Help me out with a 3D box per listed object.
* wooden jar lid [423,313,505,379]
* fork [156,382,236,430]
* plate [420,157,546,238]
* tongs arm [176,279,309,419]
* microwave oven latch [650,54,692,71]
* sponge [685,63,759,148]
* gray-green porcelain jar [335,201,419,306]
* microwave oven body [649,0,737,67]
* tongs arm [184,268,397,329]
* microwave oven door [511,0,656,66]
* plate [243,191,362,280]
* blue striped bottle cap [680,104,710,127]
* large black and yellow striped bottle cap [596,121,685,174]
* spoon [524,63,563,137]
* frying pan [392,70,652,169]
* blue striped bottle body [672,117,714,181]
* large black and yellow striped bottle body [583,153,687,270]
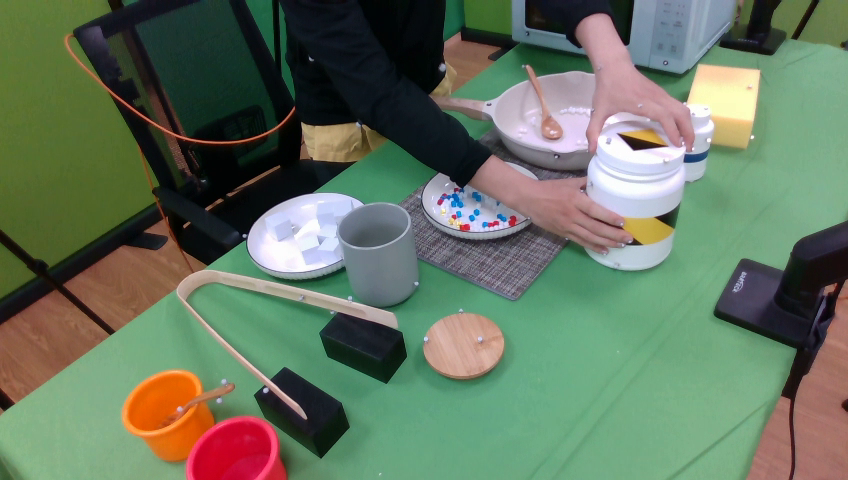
[{"bbox_3d":[0.053,0.142,0.800,0.108,0.021,0.108,-5,39,4],"label":"wooden jar lid"},{"bbox_3d":[-0.262,0.189,0.690,0.018,0.206,0.028,49,43,-7],"label":"fork"},{"bbox_3d":[0.100,-0.068,1.017,0.209,0.038,0.208,-4,40,4],"label":"plate"},{"bbox_3d":[-0.254,0.133,0.801,0.028,0.028,0.384,-41,40,-23],"label":"tongs arm"},{"bbox_3d":[0.530,-0.386,1.301,0.078,0.029,0.030,23,50,32],"label":"microwave oven latch"},{"bbox_3d":[0.569,-0.263,1.164,0.117,0.061,0.207,13,45,22],"label":"sponge"},{"bbox_3d":[-0.064,0.024,0.872,0.106,0.127,0.105,-4,41,4],"label":"gray-green porcelain jar"},{"bbox_3d":[0.475,-0.602,1.411,0.438,0.261,0.327,23,50,32],"label":"microwave oven body"},{"bbox_3d":[-0.202,0.084,0.848,0.382,0.027,0.051,11,45,35],"label":"tongs arm"},{"bbox_3d":[0.351,-0.540,1.349,0.353,0.245,0.039,24,50,31],"label":"microwave oven door"},{"bbox_3d":[-0.188,-0.005,0.992,0.207,0.039,0.206,-3,41,4],"label":"plate"},{"bbox_3d":[0.443,-0.205,0.989,0.044,0.021,0.044,-1,41,1],"label":"blue striped bottle cap"},{"bbox_3d":[0.292,-0.127,0.818,0.115,0.019,0.114,0,39,1],"label":"large black and yellow striped bottle cap"},{"bbox_3d":[0.234,-0.281,1.203,0.041,0.022,0.192,-13,68,-1],"label":"spoon"},{"bbox_3d":[0.176,-0.248,1.165,0.487,0.103,0.306,12,43,9],"label":"frying pan"},{"bbox_3d":[0.449,-0.165,1.022,0.063,0.121,0.063,-5,41,4],"label":"blue striped bottle body"},{"bbox_3d":[0.302,-0.062,0.875,0.131,0.185,0.130,-4,41,4],"label":"large black and yellow striped bottle body"}]
